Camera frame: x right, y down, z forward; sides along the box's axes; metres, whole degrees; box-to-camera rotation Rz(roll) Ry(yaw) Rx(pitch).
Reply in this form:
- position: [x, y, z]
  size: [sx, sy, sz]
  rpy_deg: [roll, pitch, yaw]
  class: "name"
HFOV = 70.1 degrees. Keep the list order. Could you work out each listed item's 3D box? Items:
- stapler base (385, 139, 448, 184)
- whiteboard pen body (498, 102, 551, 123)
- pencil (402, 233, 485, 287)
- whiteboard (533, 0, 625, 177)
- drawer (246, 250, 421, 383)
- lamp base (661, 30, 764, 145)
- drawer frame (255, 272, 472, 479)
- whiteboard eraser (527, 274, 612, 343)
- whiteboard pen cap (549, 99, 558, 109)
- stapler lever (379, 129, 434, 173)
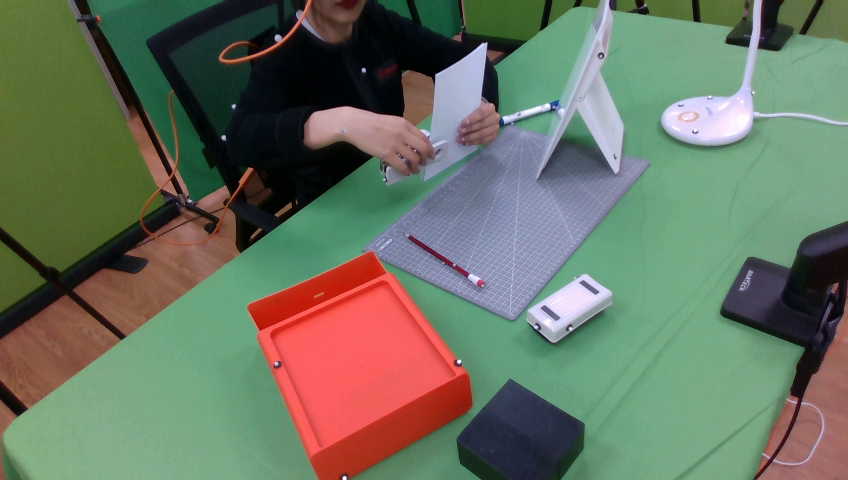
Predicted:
- position: [-0.016, -0.137, 1.009]
  size: [0.131, 0.041, 0.024]
  rpy_deg: [-30, 57, -28]
  class: "stapler base"
- position: [0.221, -0.268, 1.257]
  size: [0.141, 0.017, 0.017]
  rpy_deg: [-18, 41, -12]
  class: "whiteboard pen body"
- position: [0.026, 0.028, 0.949]
  size: [0.012, 0.012, 0.192]
  rpy_deg: [-34, 44, -26]
  class: "pencil"
- position: [0.321, -0.258, 1.049]
  size: [0.144, 0.306, 0.217]
  rpy_deg: [20, 45, 4]
  class: "whiteboard"
- position: [-0.109, 0.129, 0.804]
  size: [0.195, 0.073, 0.210]
  rpy_deg: [-23, 43, -18]
  class: "drawer"
- position: [0.535, -0.287, 1.096]
  size: [0.179, 0.181, 0.159]
  rpy_deg: [-10, 40, -4]
  class: "lamp base"
- position: [-0.079, 0.161, 0.759]
  size: [0.202, 0.083, 0.211]
  rpy_deg: [-24, 43, -18]
  class: "drawer frame"
- position: [0.198, 0.094, 0.820]
  size: [0.113, 0.042, 0.055]
  rpy_deg: [-30, 43, -22]
  class: "whiteboard eraser"
- position: [0.275, -0.286, 1.267]
  size: [0.033, 0.018, 0.018]
  rpy_deg: [-17, 41, -12]
  class: "whiteboard pen cap"
- position: [-0.033, -0.152, 1.019]
  size: [0.118, 0.027, 0.040]
  rpy_deg: [-30, 57, -28]
  class: "stapler lever"
